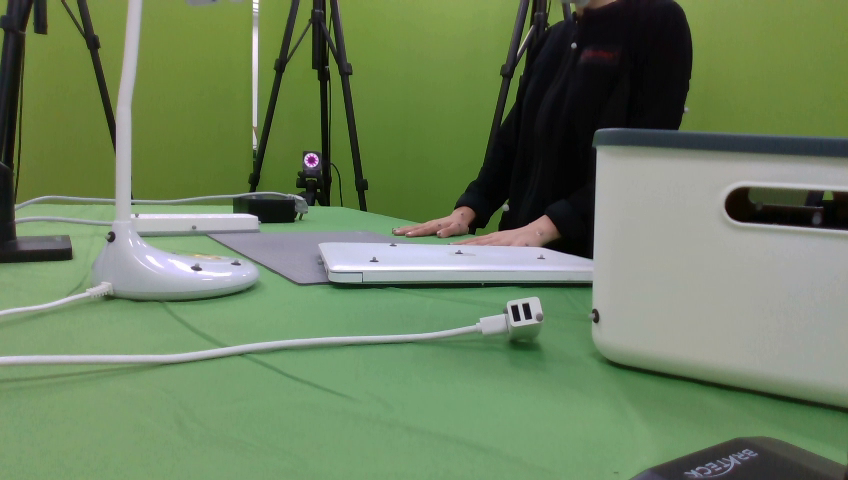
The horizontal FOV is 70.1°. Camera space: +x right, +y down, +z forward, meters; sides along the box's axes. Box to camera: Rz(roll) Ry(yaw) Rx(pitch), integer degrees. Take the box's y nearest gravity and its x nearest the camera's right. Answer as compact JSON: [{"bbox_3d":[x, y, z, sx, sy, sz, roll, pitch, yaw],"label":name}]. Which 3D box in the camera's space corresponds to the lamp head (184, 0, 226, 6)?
[{"bbox_3d":[-0.229,-0.320,0.627,0.112,0.112,0.123,6,-35,26],"label":"lamp head"}]

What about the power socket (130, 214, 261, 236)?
[{"bbox_3d":[-0.397,-0.028,1.048,0.228,0.032,0.072,-3,8,-35],"label":"power socket"}]

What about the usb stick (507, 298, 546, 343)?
[{"bbox_3d":[0.079,0.065,0.470,0.027,0.021,0.059,-12,-24,4],"label":"usb stick"}]

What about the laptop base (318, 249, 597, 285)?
[{"bbox_3d":[0.046,0.034,0.789,0.355,0.023,0.235,1,4,-14],"label":"laptop base"}]

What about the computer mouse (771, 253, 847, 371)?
[{"bbox_3d":[0.344,0.056,0.518,0.063,0.041,0.117,13,48,2],"label":"computer mouse"}]

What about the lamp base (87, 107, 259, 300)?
[{"bbox_3d":[-0.254,-0.039,0.603,0.160,0.180,0.179,5,10,18],"label":"lamp base"}]

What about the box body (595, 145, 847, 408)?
[{"bbox_3d":[0.309,0.007,0.510,0.253,0.160,0.366,6,8,29],"label":"box body"}]

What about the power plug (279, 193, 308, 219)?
[{"bbox_3d":[-0.293,-0.077,1.344,0.073,0.052,0.035,18,16,-16],"label":"power plug"}]

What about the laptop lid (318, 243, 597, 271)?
[{"bbox_3d":[0.046,0.022,0.789,0.358,0.013,0.241,1,6,-12],"label":"laptop lid"}]

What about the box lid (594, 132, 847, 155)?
[{"bbox_3d":[0.310,-0.066,0.499,0.262,0.015,0.373,7,8,29],"label":"box lid"}]
